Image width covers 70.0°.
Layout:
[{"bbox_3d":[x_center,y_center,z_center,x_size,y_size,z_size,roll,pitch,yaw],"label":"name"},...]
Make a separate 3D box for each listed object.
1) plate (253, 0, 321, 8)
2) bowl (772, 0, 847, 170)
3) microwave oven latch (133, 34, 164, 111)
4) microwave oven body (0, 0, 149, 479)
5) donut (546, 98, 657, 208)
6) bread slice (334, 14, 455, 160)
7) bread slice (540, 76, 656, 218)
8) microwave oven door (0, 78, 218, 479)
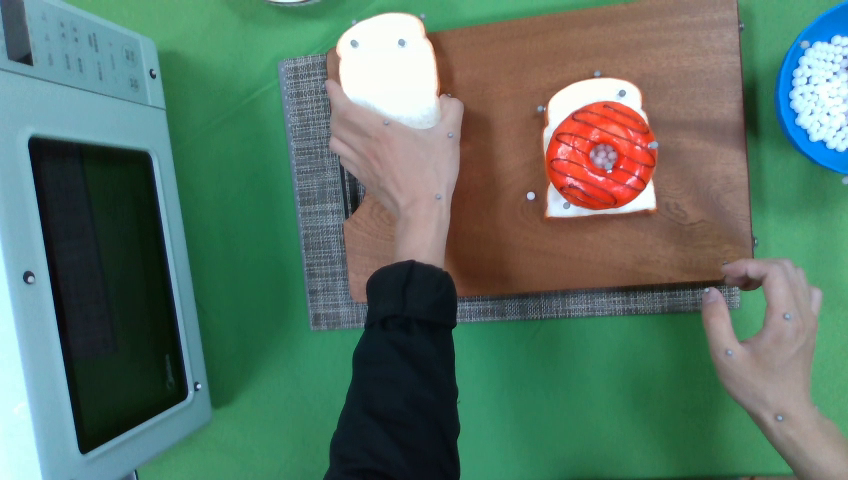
[{"bbox_3d":[-0.139,-0.348,0.636,0.207,0.039,0.208,1,95,11],"label":"plate"},{"bbox_3d":[0.378,-0.133,0.533,0.151,0.077,0.151,1,95,11],"label":"bowl"},{"bbox_3d":[-0.310,-0.181,0.664,0.030,0.029,0.079,-7,94,11],"label":"microwave oven latch"},{"bbox_3d":[-0.448,0.019,0.608,0.325,0.260,0.442,-8,93,11],"label":"microwave oven body"},{"bbox_3d":[0.161,-0.078,0.551,0.099,0.048,0.099,1,96,11],"label":"donut"},{"bbox_3d":[-0.037,-0.155,0.607,0.107,0.018,0.134,-17,87,14],"label":"bread slice"},{"bbox_3d":[0.162,-0.089,0.580,0.105,0.019,0.131,-6,95,10],"label":"bread slice"},{"bbox_3d":[-0.301,0.042,0.577,0.039,0.244,0.356,-8,93,12],"label":"microwave oven door"}]
